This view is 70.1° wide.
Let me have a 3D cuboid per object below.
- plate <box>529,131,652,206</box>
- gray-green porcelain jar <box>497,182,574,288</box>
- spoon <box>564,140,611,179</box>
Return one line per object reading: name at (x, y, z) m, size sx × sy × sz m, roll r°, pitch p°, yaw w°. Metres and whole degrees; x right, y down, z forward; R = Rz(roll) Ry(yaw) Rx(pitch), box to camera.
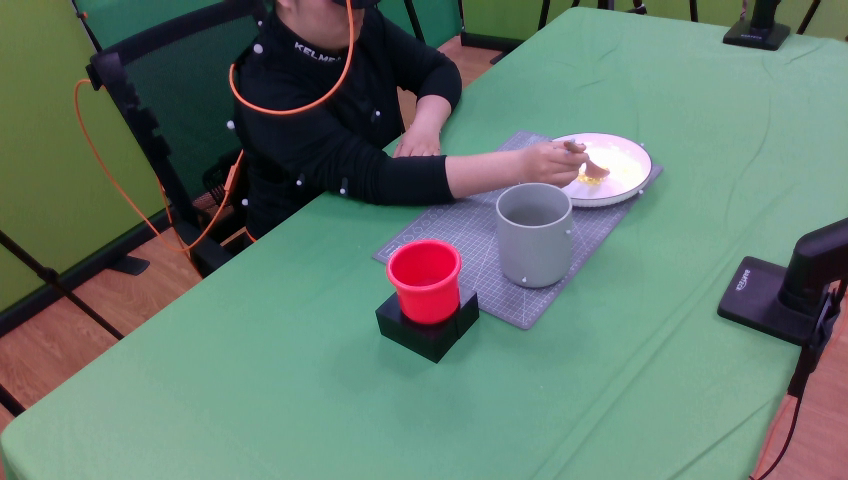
plate at (0.287, -0.121, 1.056) m, size 0.207 × 0.039 × 0.206 m, roll -5°, pitch 40°, yaw 5°
gray-green porcelain jar at (0.161, -0.003, 0.870) m, size 0.106 × 0.127 × 0.105 m, roll -5°, pitch 40°, yaw 5°
spoon at (0.255, -0.127, 0.956) m, size 0.041 × 0.195 × 0.021 m, roll -3°, pitch 76°, yaw 32°
